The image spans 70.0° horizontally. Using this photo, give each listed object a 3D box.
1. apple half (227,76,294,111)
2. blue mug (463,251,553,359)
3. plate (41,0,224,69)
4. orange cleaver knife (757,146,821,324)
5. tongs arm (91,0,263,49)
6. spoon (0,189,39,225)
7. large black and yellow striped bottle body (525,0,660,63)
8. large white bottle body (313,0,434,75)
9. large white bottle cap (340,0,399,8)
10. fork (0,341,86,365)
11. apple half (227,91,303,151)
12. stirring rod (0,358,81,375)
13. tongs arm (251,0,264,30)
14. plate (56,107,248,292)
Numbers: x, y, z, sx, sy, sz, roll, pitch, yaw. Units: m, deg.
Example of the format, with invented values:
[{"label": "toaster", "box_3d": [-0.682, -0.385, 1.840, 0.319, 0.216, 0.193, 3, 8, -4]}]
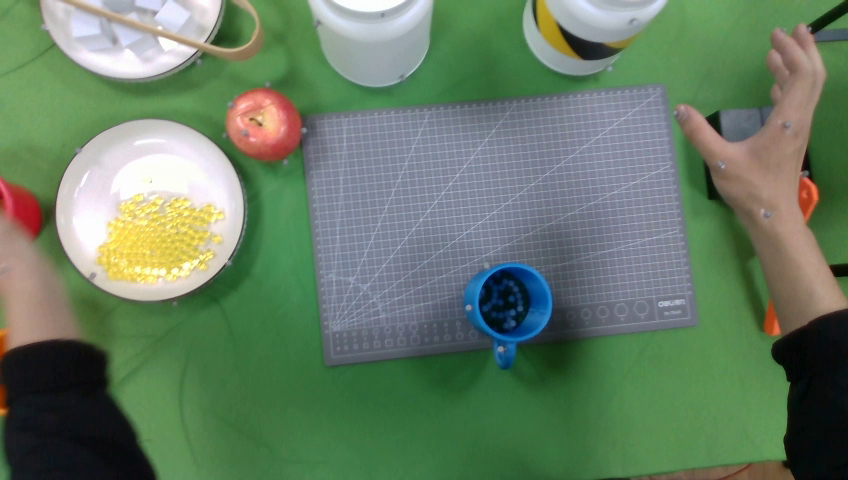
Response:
[{"label": "apple half", "box_3d": [-0.187, -0.165, 0.684, 0.081, 0.081, 0.033, -20, 93, -4]}, {"label": "blue mug", "box_3d": [0.089, 0.072, 0.670, 0.082, 0.106, 0.116, 2, 87, -3]}, {"label": "plate", "box_3d": [-0.331, -0.297, 0.700, 0.208, 0.039, 0.207, 0, 88, -3]}, {"label": "orange cleaver knife", "box_3d": [0.412, -0.002, 0.703, 0.012, 0.076, 0.213, -7, 118, -4]}, {"label": "tongs arm", "box_3d": [-0.367, -0.287, 0.666, 0.385, 0.026, 0.050, 23, 83, 0]}, {"label": "spoon", "box_3d": [-0.512, -0.042, 0.626, 0.195, 0.021, 0.041, 5, 84, -46]}, {"label": "large black and yellow striped bottle body", "box_3d": [0.191, -0.284, 0.656, 0.131, 0.184, 0.130, 0, 86, -2]}, {"label": "large white bottle body", "box_3d": [-0.053, -0.267, 0.641, 0.131, 0.184, 0.130, 0, 86, -3]}, {"label": "large white bottle cap", "box_3d": [-0.051, -0.272, 0.556, 0.115, 0.018, 0.114, 0, 87, -2]}, {"label": "fork", "box_3d": [-0.460, 0.113, 0.618, 0.209, 0.018, 0.028, 16, 85, -45]}, {"label": "apple half", "box_3d": [-0.174, -0.129, 0.684, 0.081, 0.074, 0.053, -20, 92, -7]}, {"label": "stirring rod", "box_3d": [-0.450, 0.132, 0.619, 0.177, 0.006, 0.014, 6, 72, -43]}, {"label": "tongs arm", "box_3d": [-0.328, -0.361, 0.673, 0.387, 0.028, 0.028, 37, 79, 1]}, {"label": "plate", "box_3d": [-0.304, -0.046, 0.690, 0.209, 0.038, 0.209, 0, 88, -3]}]
